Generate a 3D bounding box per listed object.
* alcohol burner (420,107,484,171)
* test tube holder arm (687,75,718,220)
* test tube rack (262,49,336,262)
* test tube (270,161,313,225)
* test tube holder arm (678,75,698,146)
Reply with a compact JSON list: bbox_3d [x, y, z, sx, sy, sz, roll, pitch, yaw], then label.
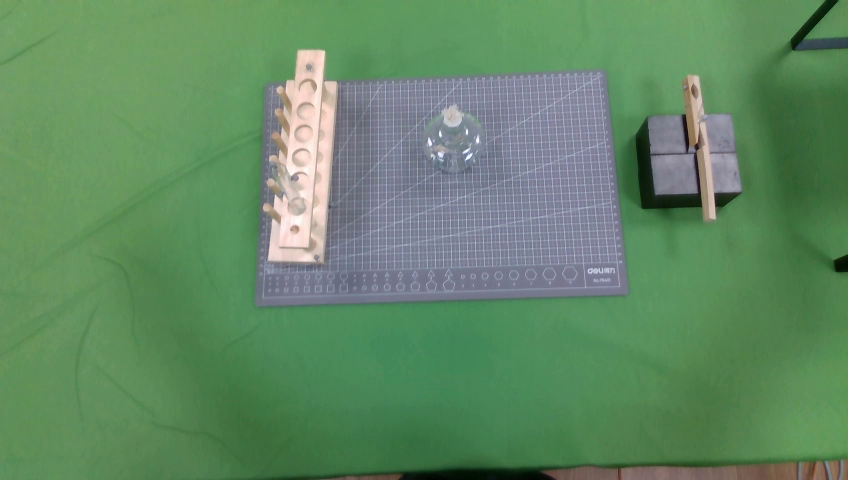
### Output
[{"bbox_3d":[0.033,-0.128,0.720,0.078,0.119,0.077,-1,77,3],"label":"alcohol burner"},{"bbox_3d":[0.323,-0.110,0.707,0.013,0.015,0.177,-3,76,-4],"label":"test tube holder arm"},{"bbox_3d":[-0.155,-0.101,0.734,0.067,0.085,0.241,2,76,3],"label":"test tube rack"},{"bbox_3d":[-0.144,-0.047,0.669,0.017,0.151,0.017,0,71,1],"label":"test tube"},{"bbox_3d":[0.314,-0.153,0.718,0.010,0.015,0.087,-2,76,-3],"label":"test tube holder arm"}]
